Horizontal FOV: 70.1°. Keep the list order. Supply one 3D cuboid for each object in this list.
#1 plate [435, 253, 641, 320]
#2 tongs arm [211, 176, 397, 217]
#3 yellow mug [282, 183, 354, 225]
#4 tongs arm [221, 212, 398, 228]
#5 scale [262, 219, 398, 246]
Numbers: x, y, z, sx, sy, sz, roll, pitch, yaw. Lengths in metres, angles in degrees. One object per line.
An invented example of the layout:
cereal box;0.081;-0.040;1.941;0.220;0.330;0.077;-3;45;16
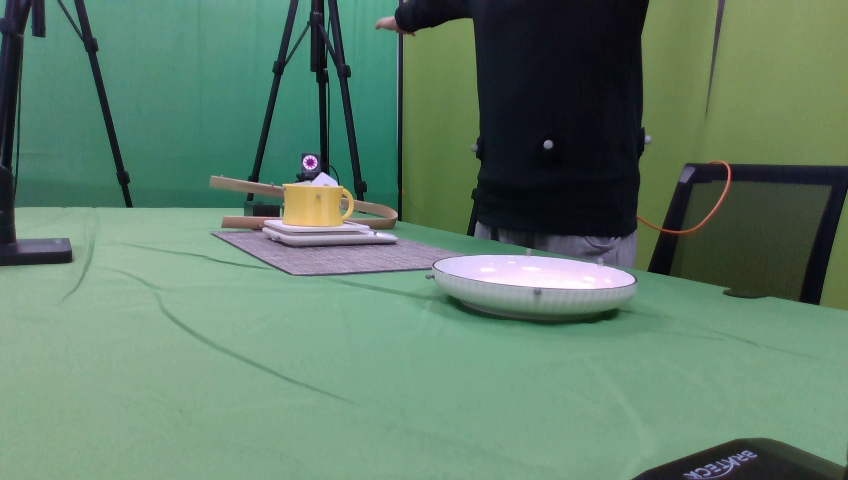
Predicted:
plate;0.114;0.047;0.626;0.208;0.039;0.207;2;7;0
tongs arm;-0.240;-0.084;1.257;0.387;0.026;0.050;7;28;-27
yellow mug;-0.172;-0.061;1.009;0.131;0.064;0.099;-2;7;-41
tongs arm;-0.208;-0.039;1.198;0.390;0.028;0.028;-2;29;-38
scale;-0.160;-0.016;1.028;0.202;0.031;0.148;-2;9;-31
